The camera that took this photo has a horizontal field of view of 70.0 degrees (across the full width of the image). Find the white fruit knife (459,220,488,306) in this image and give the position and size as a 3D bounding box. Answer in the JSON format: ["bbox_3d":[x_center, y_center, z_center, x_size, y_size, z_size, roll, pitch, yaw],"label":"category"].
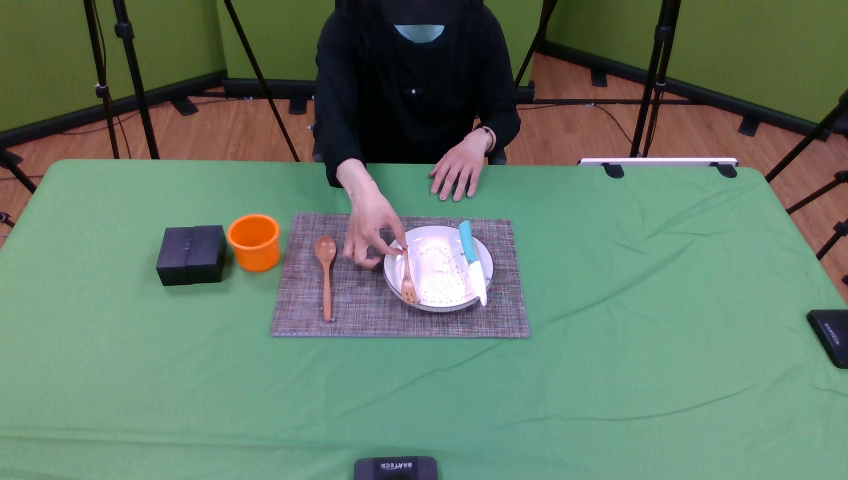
[{"bbox_3d":[0.091,0.039,1.117,0.027,0.016,0.206,-3,47,-9],"label":"white fruit knife"}]

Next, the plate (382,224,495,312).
[{"bbox_3d":[0.026,0.055,1.128,0.209,0.038,0.208,2,46,-2],"label":"plate"}]

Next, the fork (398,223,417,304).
[{"bbox_3d":[-0.034,0.039,1.109,0.028,0.019,0.206,3,47,-12],"label":"fork"}]

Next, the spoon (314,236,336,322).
[{"bbox_3d":[-0.180,0.068,1.111,0.042,0.022,0.192,9,43,-20],"label":"spoon"}]
